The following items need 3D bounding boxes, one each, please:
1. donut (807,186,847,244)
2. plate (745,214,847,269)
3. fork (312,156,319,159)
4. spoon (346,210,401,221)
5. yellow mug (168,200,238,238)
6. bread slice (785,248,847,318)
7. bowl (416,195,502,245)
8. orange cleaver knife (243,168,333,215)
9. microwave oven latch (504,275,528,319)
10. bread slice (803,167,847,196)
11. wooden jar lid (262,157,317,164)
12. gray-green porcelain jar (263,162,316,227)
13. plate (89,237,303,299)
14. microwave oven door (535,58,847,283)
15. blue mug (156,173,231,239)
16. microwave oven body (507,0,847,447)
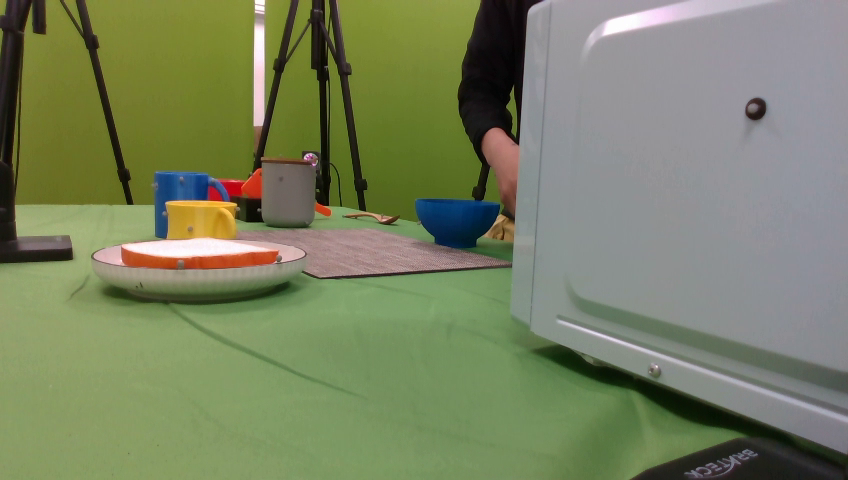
[{"bbox_3d":[0.350,-0.023,0.463,0.099,0.048,0.099,-11,5,1],"label":"donut"},{"bbox_3d":[0.361,0.002,0.462,0.209,0.038,0.209,2,4,0],"label":"plate"},{"bbox_3d":[-0.331,-0.144,1.506,0.207,0.018,0.028,-42,-19,22],"label":"fork"},{"bbox_3d":[-0.121,-0.060,1.400,0.042,0.021,0.192,-25,23,-38],"label":"spoon"},{"bbox_3d":[-0.320,-0.023,0.904,0.130,0.064,0.100,9,10,36],"label":"yellow mug"},{"bbox_3d":[0.372,0.025,0.474,0.132,0.019,0.104,-26,14,-14],"label":"bread slice"},{"bbox_3d":[0.059,-0.035,1.050,0.151,0.077,0.151,2,7,0],"label":"bowl"},{"bbox_3d":[-0.300,-0.089,1.351,0.212,0.077,0.012,29,-9,-34],"label":"orange cleaver knife"},{"bbox_3d":[0.100,0.042,0.471,0.079,0.029,0.030,-1,7,-27],"label":"microwave oven latch"},{"bbox_3d":[0.363,-0.051,0.454,0.135,0.018,0.106,-10,4,-23],"label":"bread slice"},{"bbox_3d":[-0.269,-0.154,1.208,0.108,0.020,0.108,3,5,0],"label":"wooden jar lid"},{"bbox_3d":[-0.271,-0.092,1.217,0.106,0.126,0.106,2,7,0],"label":"gray-green porcelain jar"},{"bbox_3d":[-0.233,0.029,0.637,0.208,0.039,0.207,2,7,0],"label":"plate"},{"bbox_3d":[0.310,-0.091,0.762,0.354,0.243,0.039,7,10,38],"label":"microwave oven door"},{"bbox_3d":[-0.381,-0.057,1.004,0.117,0.106,0.082,0,8,-12],"label":"blue mug"},{"bbox_3d":[0.331,-0.042,0.425,0.444,0.260,0.324,-2,8,-31],"label":"microwave oven body"}]
